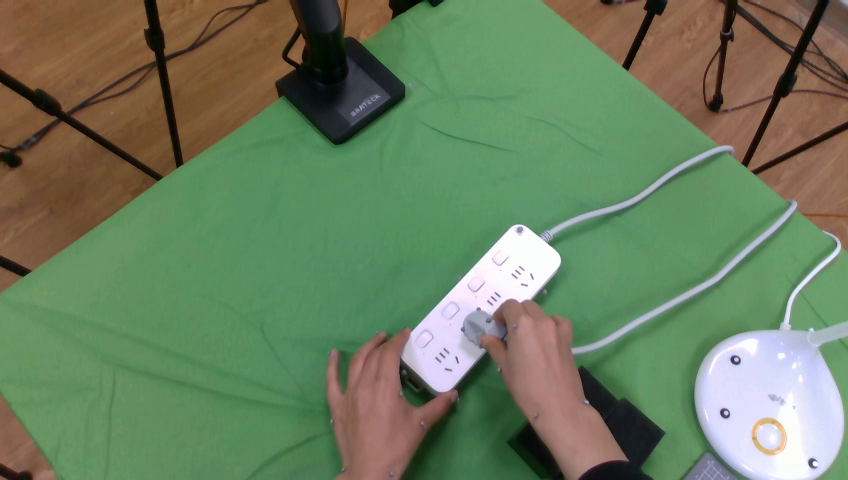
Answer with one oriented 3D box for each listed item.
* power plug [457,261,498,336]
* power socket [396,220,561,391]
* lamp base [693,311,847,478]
[{"bbox_3d":[0.058,0.064,0.626,0.035,0.052,0.072,33,62,-23],"label":"power plug"},{"bbox_3d":[0.062,0.067,0.660,0.072,0.033,0.226,42,71,11],"label":"power socket"},{"bbox_3d":[0.373,0.128,0.579,0.160,0.181,0.178,18,65,3],"label":"lamp base"}]
